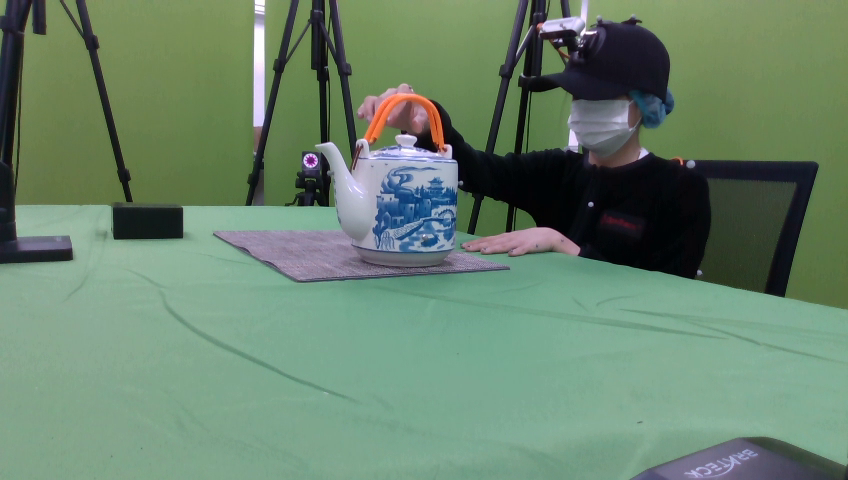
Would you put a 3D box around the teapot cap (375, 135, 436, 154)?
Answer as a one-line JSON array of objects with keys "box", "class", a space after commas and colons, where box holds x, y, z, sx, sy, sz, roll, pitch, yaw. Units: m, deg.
[{"box": [-0.024, -0.119, 0.811, 0.085, 0.044, 0.085, 4, 8, 0], "class": "teapot cap"}]

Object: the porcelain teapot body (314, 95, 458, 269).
[{"box": [-0.049, -0.079, 0.800, 0.206, 0.225, 0.144, -3, 9, -37], "class": "porcelain teapot body"}]
